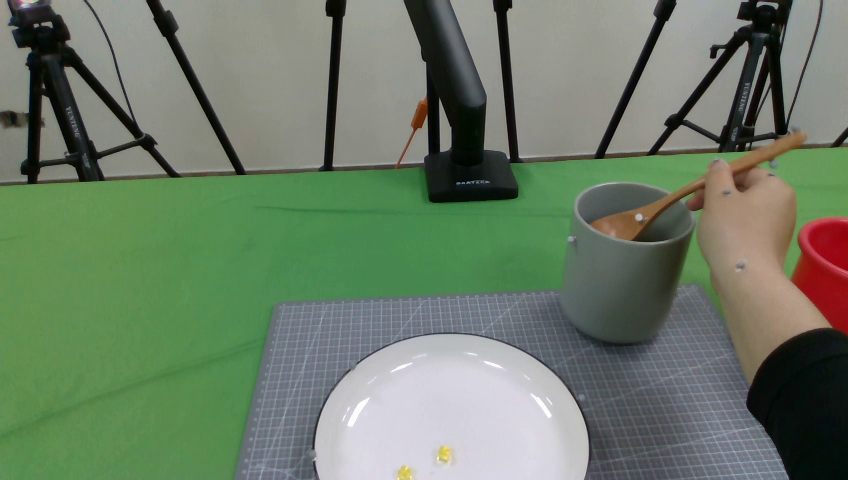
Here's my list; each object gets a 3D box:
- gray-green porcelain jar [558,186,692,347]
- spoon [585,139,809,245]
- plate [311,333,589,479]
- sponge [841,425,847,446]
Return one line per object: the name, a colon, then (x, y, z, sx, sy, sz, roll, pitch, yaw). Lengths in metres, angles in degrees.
gray-green porcelain jar: (0.184, 0.029, 0.572, 0.106, 0.127, 0.105, -1, 35, 1)
spoon: (0.219, -0.035, 0.509, 0.193, 0.022, 0.041, -30, 36, 28)
plate: (0.020, 0.157, 0.469, 0.208, 0.039, 0.205, 0, 35, 1)
sponge: (0.408, 0.190, 0.401, 0.118, 0.061, 0.204, -5, 35, -6)
